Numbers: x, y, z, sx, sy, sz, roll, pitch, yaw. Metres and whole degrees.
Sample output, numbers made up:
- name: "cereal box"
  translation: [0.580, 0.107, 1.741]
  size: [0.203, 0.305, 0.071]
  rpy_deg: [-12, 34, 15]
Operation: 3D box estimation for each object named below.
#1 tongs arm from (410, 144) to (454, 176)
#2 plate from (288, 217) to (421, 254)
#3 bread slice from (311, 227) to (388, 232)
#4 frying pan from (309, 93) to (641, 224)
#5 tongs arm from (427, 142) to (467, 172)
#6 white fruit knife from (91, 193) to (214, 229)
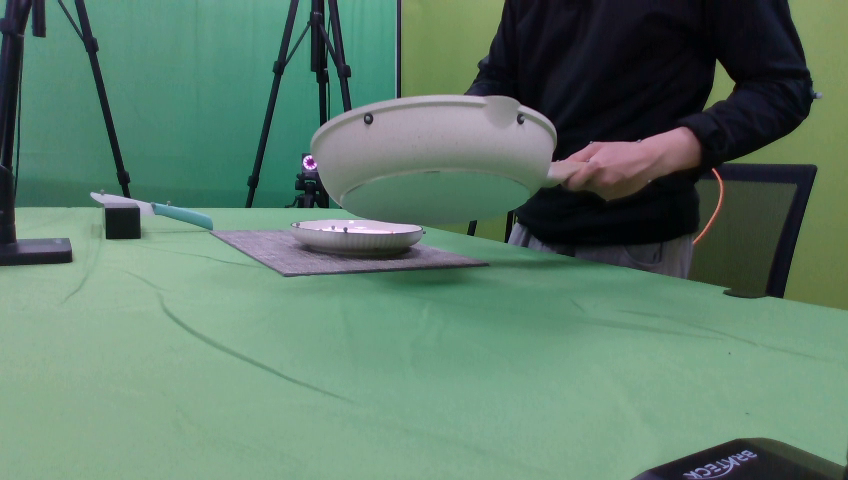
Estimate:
- name: "tongs arm"
  translation: [0.017, -0.117, 0.851]
  size: [0.051, 0.026, 0.384]
  rpy_deg: [-12, 8, 4]
- name: "plate"
  translation: [-0.109, -0.008, 0.956]
  size: [0.208, 0.039, 0.207]
  rpy_deg: [2, 8, 0]
- name: "bread slice"
  translation: [-0.115, -0.005, 0.950]
  size: [0.134, 0.018, 0.107]
  rpy_deg: [3, 6, -7]
- name: "frying pan"
  translation: [0.103, -0.090, 0.769]
  size: [0.490, 0.102, 0.305]
  rpy_deg: [-6, -9, -28]
- name: "tongs arm"
  translation: [0.034, -0.120, 0.848]
  size: [0.028, 0.028, 0.388]
  rpy_deg: [-15, 8, 11]
- name: "white fruit knife"
  translation: [-0.478, -0.055, 1.077]
  size: [0.208, 0.027, 0.016]
  rpy_deg: [14, -2, -30]
